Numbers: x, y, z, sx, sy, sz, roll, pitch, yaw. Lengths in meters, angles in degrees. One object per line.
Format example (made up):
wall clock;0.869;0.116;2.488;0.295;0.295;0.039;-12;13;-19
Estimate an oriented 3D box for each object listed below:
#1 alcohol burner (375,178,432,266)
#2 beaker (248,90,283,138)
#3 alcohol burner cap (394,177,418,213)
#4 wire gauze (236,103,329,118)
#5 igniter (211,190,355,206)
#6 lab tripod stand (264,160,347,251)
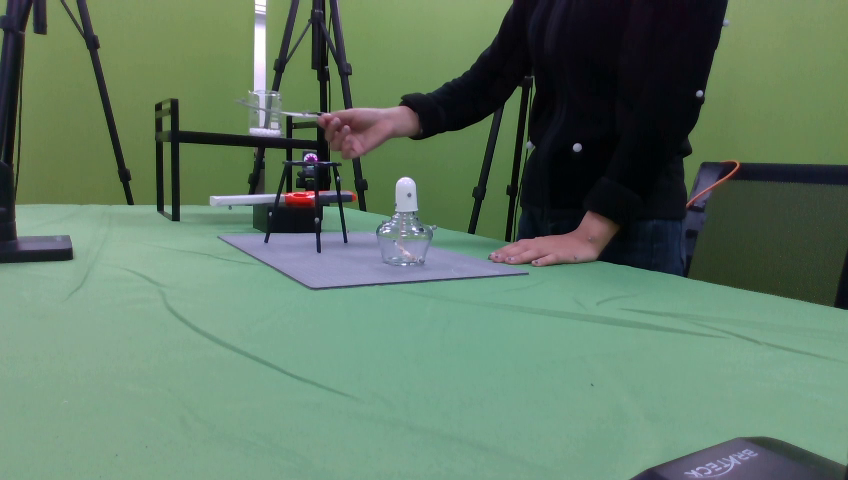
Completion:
alcohol burner;-0.026;-0.025;0.815;0.078;0.119;0.078;5;7;0
beaker;-0.354;-0.278;1.340;0.074;0.100;0.084;6;9;26
alcohol burner cap;-0.025;-0.060;0.809;0.034;0.048;0.034;-4;10;1
wire gauze;-0.234;-0.213;1.011;0.125;0.011;0.121;9;9;9
igniter;-0.260;-0.080;1.151;0.278;0.025;0.057;-5;13;-34
lab tripod stand;-0.177;-0.056;0.930;0.148;0.131;0.148;1;9;0
